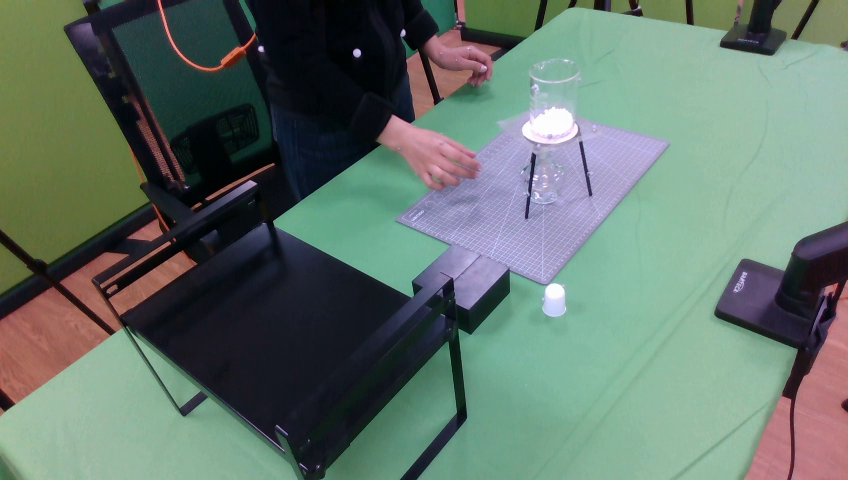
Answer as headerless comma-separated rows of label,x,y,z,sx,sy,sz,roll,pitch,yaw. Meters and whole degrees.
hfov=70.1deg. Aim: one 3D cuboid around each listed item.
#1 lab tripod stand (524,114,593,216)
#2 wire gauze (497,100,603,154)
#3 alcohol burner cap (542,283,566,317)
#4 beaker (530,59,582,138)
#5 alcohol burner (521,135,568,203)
lab tripod stand,0.210,-0.127,1.001,0.148,0.132,0.147,-4,43,4
wire gauze,0.199,-0.179,0.962,0.125,0.011,0.120,-21,42,-12
alcohol burner cap,0.181,0.081,0.839,0.034,0.048,0.033,-4,41,4
beaker,0.198,-0.217,0.932,0.074,0.101,0.083,-22,43,-16
alcohol burner,0.201,-0.122,1.012,0.078,0.119,0.077,-6,41,6
